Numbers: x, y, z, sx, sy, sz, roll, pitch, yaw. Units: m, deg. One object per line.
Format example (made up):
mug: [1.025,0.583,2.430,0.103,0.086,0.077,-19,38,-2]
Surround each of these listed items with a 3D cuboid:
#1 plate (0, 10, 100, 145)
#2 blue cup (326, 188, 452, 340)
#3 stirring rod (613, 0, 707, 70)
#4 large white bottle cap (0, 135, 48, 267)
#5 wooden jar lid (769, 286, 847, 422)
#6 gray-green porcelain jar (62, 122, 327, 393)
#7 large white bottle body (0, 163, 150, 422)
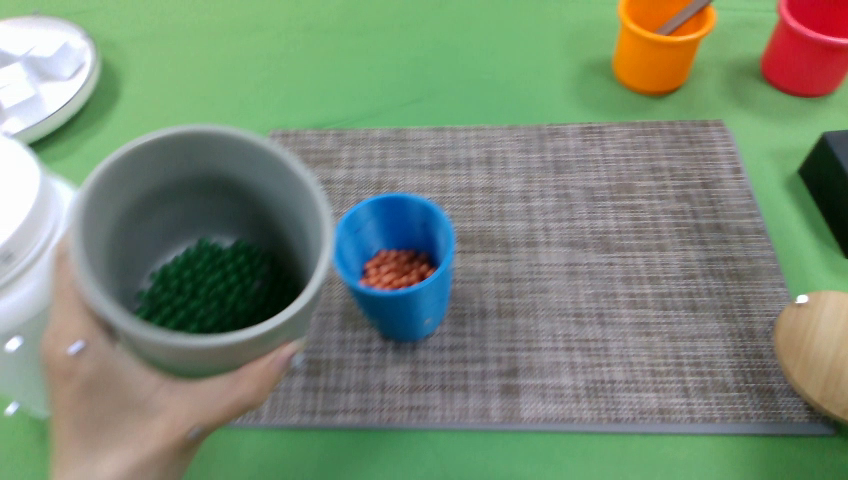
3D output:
plate: [-0.443,-0.163,0.637,0.207,0.039,0.205,-1,56,2]
blue cup: [-0.020,0.026,0.447,0.092,0.101,0.092,-2,56,3]
stirring rod: [0.259,-0.227,0.588,0.176,0.006,0.014,-38,54,29]
large white bottle cap: [-0.274,-0.016,0.338,0.115,0.018,0.113,-1,56,2]
wooden jar lid: [0.306,0.085,0.444,0.108,0.021,0.107,1,55,-1]
gray-green porcelain jar: [-0.109,0.019,0.309,0.106,0.127,0.105,6,66,-14]
large white bottle body: [-0.269,0.033,0.408,0.130,0.186,0.129,-1,56,2]
